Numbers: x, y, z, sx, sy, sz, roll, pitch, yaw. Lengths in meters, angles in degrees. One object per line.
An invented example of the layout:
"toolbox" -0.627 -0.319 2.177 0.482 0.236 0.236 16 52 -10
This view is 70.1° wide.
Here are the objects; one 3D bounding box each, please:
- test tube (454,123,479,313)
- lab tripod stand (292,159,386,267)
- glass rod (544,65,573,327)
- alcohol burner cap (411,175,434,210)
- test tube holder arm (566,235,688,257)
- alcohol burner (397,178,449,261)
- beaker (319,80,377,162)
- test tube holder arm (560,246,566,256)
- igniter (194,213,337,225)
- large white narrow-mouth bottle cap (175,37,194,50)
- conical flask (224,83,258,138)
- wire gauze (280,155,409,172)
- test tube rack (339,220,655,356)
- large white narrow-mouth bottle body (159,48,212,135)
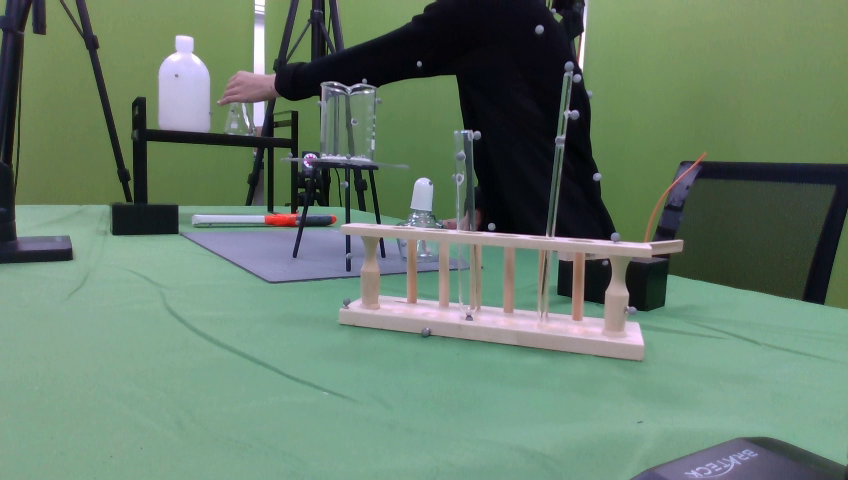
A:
"test tube" 0.034 -0.016 0.477 0.017 0.150 0.017 -2 9 1
"lab tripod stand" -0.104 -0.039 0.797 0.148 0.131 0.148 2 5 0
"glass rod" 0.101 -0.028 0.453 0.008 0.199 0.008 2 13 0
"alcohol burner cap" 0.000 -0.067 0.842 0.034 0.048 0.034 8 8 -1
"test tube holder arm" 0.215 0.006 0.629 0.179 0.015 0.013 -3 10 -30
"alcohol burner" -0.002 -0.031 0.846 0.078 0.119 0.078 0 6 0
"beaker" -0.098 -0.150 0.777 0.074 0.100 0.084 1 7 -7
"test tube holder arm" 0.173 0.007 0.611 0.088 0.015 0.010 -3 10 -30
"igniter" -0.306 -0.042 1.196 0.278 0.025 0.057 -2 -2 -31
"large white narrow-mouth bottle cap" -0.501 -0.409 1.264 0.038 0.024 0.037 2 7 0
"conical flask" -0.423 -0.299 1.395 0.075 0.122 0.075 2 7 0
"wire gauze" -0.104 -0.102 0.785 0.126 0.011 0.121 1 8 -39
"test tube rack" 0.056 0.032 0.495 0.242 0.085 0.067 4 7 15
"large white narrow-mouth bottle body" -0.503 -0.323 1.275 0.102 0.194 0.102 2 7 0
